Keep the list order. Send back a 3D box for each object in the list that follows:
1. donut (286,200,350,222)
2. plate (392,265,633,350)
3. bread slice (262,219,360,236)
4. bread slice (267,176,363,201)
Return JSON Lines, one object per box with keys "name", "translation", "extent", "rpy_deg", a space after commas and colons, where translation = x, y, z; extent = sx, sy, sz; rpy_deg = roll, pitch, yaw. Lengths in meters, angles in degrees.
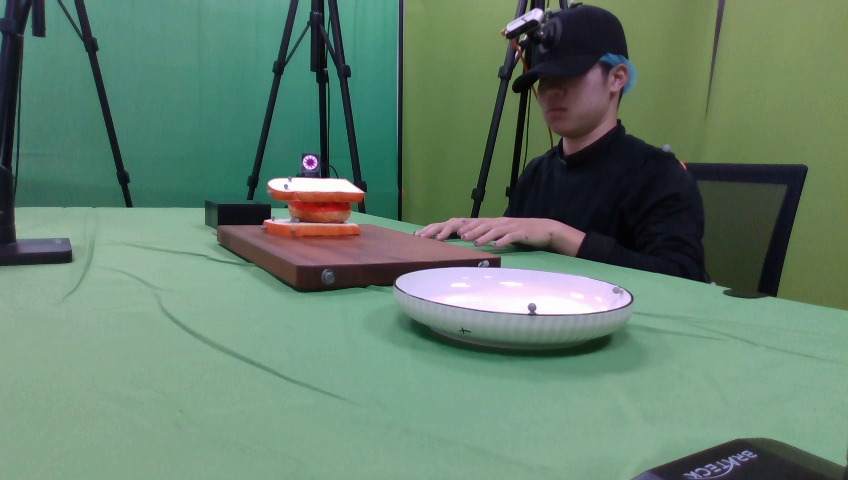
{"name": "donut", "translation": [-0.165, -0.051, 0.938], "extent": [0.099, 0.048, 0.099], "rpy_deg": [4, 8, 0]}
{"name": "plate", "translation": [0.075, 0.057, 0.533], "extent": [0.209, 0.038, 0.209], "rpy_deg": [3, 7, 0]}
{"name": "bread slice", "translation": [-0.179, -0.021, 0.931], "extent": [0.132, 0.019, 0.104], "rpy_deg": [-1, 7, -35]}
{"name": "bread slice", "translation": [-0.169, -0.078, 0.923], "extent": [0.135, 0.018, 0.106], "rpy_deg": [-4, 18, -26]}
